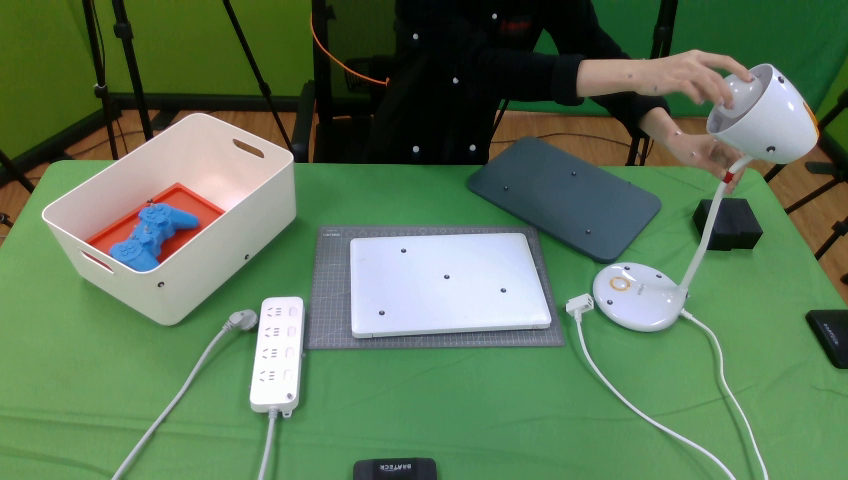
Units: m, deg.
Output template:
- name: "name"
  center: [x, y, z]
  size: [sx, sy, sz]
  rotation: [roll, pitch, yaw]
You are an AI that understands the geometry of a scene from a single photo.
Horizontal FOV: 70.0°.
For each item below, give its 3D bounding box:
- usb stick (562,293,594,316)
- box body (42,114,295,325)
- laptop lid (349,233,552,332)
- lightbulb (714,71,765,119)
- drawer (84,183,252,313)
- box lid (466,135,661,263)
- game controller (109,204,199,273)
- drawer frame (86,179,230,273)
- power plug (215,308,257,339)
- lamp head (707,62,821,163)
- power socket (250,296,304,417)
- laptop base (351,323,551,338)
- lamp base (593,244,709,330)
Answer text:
- name: "usb stick"
  center: [0.274, 0.118, 1.087]
  size: [0.021, 0.059, 0.027]
  rotation: [38, 45, -27]
- name: "box body"
  center: [-0.437, -0.046, 1.110]
  size: [0.253, 0.161, 0.363]
  rotation: [24, 49, 19]
- name: "laptop lid"
  center: [0.040, 0.070, 1.119]
  size: [0.357, 0.013, 0.240]
  rotation: [-1, 44, -5]
- name: "lightbulb"
  center: [0.438, -0.179, 0.808]
  size: [0.108, 0.059, 0.059]
  rotation: [36, 49, -6]
- name: "drawer"
  center: [-0.457, 0.008, 1.099]
  size: [0.194, 0.073, 0.211]
  rotation: [29, 49, 21]
- name: "box lid"
  center: [0.306, -0.102, 1.327]
  size: [0.370, 0.015, 0.263]
  rotation: [32, 52, 25]
- name: "game controller"
  center: [-0.467, -0.005, 1.044]
  size: [0.097, 0.052, 0.154]
  rotation: [8, 45, 10]
- name: "drawer frame"
  center: [-0.453, 0.010, 1.100]
  size: [0.201, 0.083, 0.213]
  rotation: [28, 54, 23]
- name: "power plug"
  center: [-0.317, 0.143, 1.024]
  size: [0.072, 0.053, 0.035]
  rotation: [-32, 57, -8]
- name: "lamp head"
  center: [0.461, -0.156, 0.813]
  size: [0.123, 0.112, 0.112]
  rotation: [36, 47, -12]
- name: "power socket"
  center: [-0.239, 0.182, 0.996]
  size: [0.072, 0.033, 0.225]
  rotation: [-2, 47, -5]
- name: "laptop base"
  center: [0.040, 0.080, 1.125]
  size: [0.355, 0.023, 0.234]
  rotation: [-2, 43, -6]
- name: "lamp base"
  center: [0.412, 0.052, 1.070]
  size: [0.179, 0.181, 0.160]
  rotation: [18, 48, 9]
